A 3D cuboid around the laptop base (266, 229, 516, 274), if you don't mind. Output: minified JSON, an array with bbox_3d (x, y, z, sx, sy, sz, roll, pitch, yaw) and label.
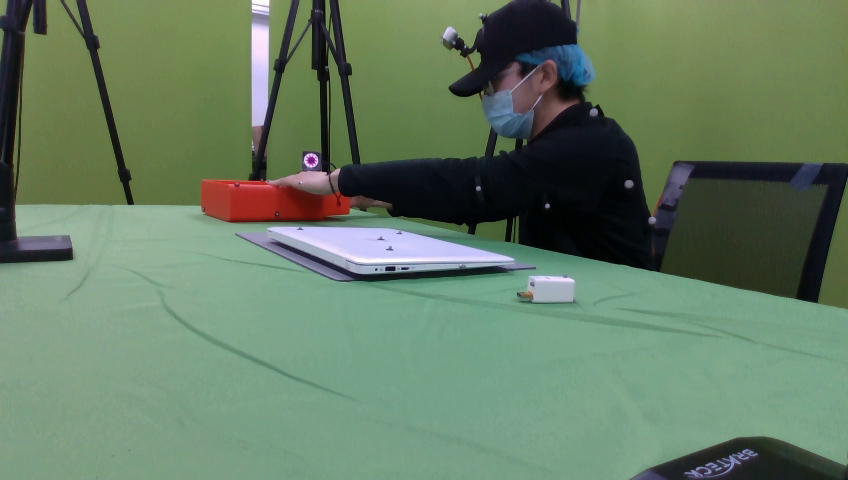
[{"bbox_3d":[-0.065,0.014,0.877,0.237,0.023,0.352,2,6,-32],"label":"laptop base"}]

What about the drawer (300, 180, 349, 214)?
[{"bbox_3d":[-0.308,-0.099,1.399,0.213,0.073,0.193,-6,11,-36],"label":"drawer"}]

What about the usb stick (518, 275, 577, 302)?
[{"bbox_3d":[0.127,0.050,0.626,0.059,0.027,0.021,-2,10,-12],"label":"usb stick"}]

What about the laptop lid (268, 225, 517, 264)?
[{"bbox_3d":[-0.063,0.002,0.877,0.243,0.013,0.355,1,7,-30],"label":"laptop lid"}]

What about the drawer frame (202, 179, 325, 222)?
[{"bbox_3d":[-0.361,-0.092,1.357,0.215,0.082,0.200,-4,10,-37],"label":"drawer frame"}]
